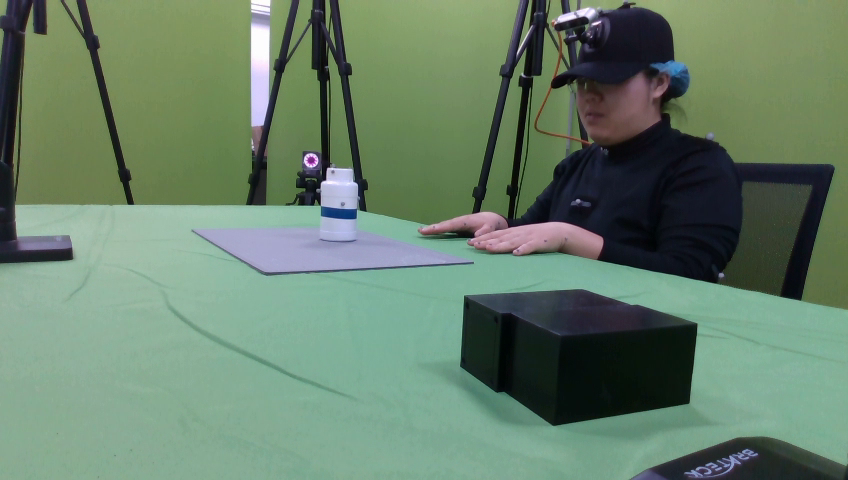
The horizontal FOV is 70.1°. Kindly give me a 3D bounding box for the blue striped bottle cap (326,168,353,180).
[{"bbox_3d":[-0.141,-0.111,1.011,0.044,0.020,0.044,2,6,0],"label":"blue striped bottle cap"}]

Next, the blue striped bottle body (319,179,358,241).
[{"bbox_3d":[-0.143,-0.061,1.018,0.063,0.120,0.063,3,7,0],"label":"blue striped bottle body"}]
